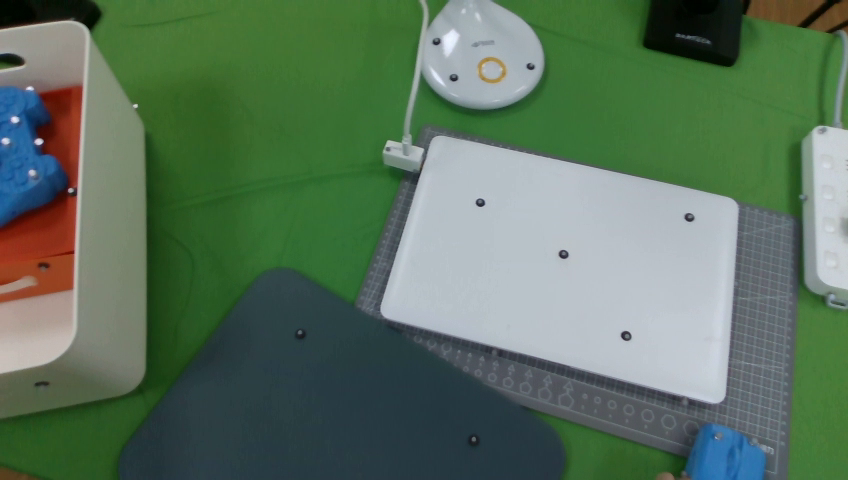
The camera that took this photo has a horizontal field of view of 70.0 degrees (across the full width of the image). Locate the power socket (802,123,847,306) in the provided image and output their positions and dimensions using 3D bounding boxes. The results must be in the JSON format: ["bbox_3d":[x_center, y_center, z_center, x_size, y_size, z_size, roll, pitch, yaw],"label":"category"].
[{"bbox_3d":[0.466,-0.036,0.678,0.072,0.033,0.225,14,66,5],"label":"power socket"}]

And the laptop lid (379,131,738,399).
[{"bbox_3d":[0.149,0.014,0.649,0.356,0.013,0.240,15,69,7],"label":"laptop lid"}]

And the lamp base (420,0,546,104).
[{"bbox_3d":[0.069,-0.283,0.711,0.161,0.181,0.177,-21,64,-9],"label":"lamp base"}]

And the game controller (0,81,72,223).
[{"bbox_3d":[-0.426,-0.096,0.616,0.097,0.052,0.154,-23,67,-14],"label":"game controller"}]

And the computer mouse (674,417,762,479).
[{"bbox_3d":[0.266,0.223,0.554,0.062,0.041,0.117,27,66,14],"label":"computer mouse"}]

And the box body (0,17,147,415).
[{"bbox_3d":[-0.425,-0.015,0.597,0.254,0.161,0.361,-10,66,-5],"label":"box body"}]

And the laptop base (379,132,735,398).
[{"bbox_3d":[0.150,0.017,0.661,0.354,0.023,0.234,13,70,6],"label":"laptop base"}]

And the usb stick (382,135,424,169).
[{"bbox_3d":[-0.018,-0.099,0.701,0.059,0.027,0.021,18,61,5],"label":"usb stick"}]

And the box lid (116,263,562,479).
[{"bbox_3d":[-0.082,0.202,0.581,0.370,0.015,0.262,29,69,12],"label":"box lid"}]

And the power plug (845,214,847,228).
[{"bbox_3d":[0.486,-0.011,0.641,0.072,0.053,0.035,24,67,9],"label":"power plug"}]
